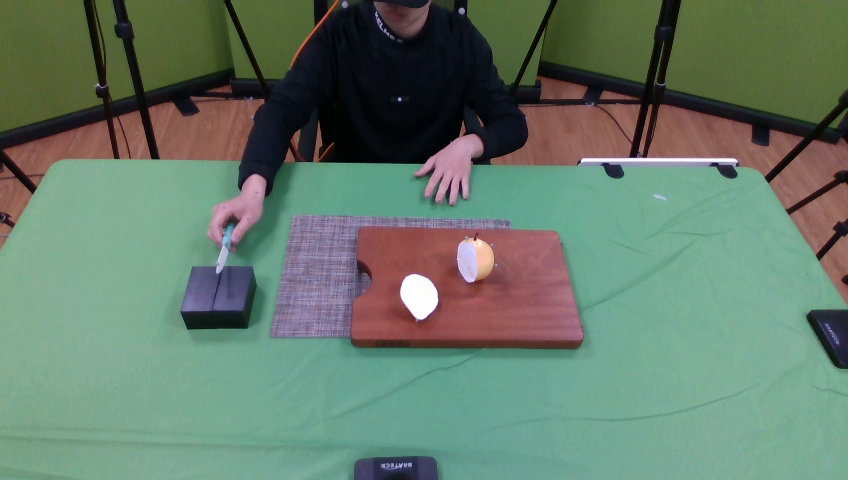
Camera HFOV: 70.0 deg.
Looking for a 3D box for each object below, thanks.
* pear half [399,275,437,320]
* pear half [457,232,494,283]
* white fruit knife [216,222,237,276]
[{"bbox_3d":[-0.013,0.104,1.051,0.070,0.031,0.087,11,57,-15],"label":"pear half"},{"bbox_3d":[0.098,0.023,1.087,0.056,0.110,0.076,-22,55,-24],"label":"pear half"},{"bbox_3d":[-0.357,0.013,1.094,0.016,0.027,0.206,-15,27,-3],"label":"white fruit knife"}]
